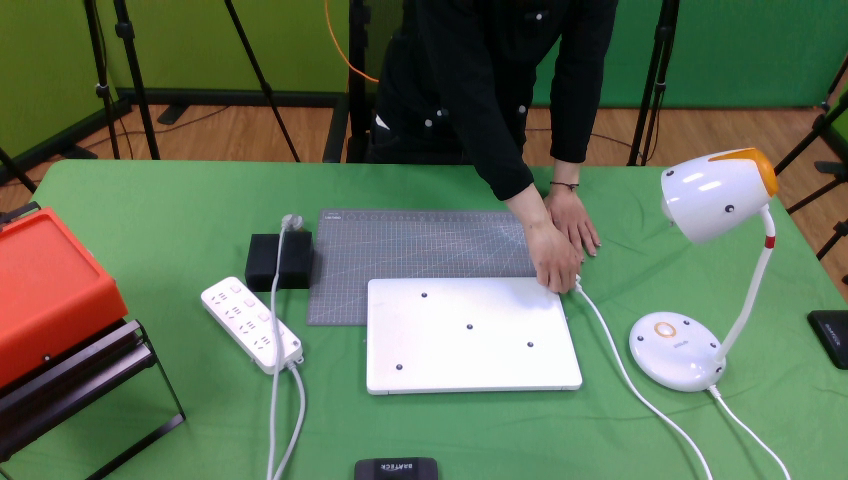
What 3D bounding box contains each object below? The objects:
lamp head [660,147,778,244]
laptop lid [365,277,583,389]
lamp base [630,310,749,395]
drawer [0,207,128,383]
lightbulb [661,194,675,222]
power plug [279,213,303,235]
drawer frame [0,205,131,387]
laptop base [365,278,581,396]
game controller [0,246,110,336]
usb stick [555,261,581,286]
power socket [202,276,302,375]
[{"bbox_3d":[0.389,-0.063,0.785,0.123,0.113,0.112,-22,32,37],"label":"lamp head"},{"bbox_3d":[0.077,0.152,1.046,0.357,0.013,0.240,1,45,-3],"label":"laptop lid"},{"bbox_3d":[0.447,0.142,0.984,0.161,0.181,0.178,-24,55,-24],"label":"lamp base"},{"bbox_3d":[-0.540,0.074,0.799,0.193,0.073,0.211,37,55,27],"label":"drawer"},{"bbox_3d":[0.367,-0.060,0.806,0.060,0.107,0.059,16,62,-32],"label":"lightbulb"},{"bbox_3d":[-0.264,-0.022,1.184,0.035,0.053,0.072,4,48,31],"label":"power plug"},{"bbox_3d":[-0.540,0.075,0.795,0.200,0.083,0.213,36,54,26],"label":"drawer frame"},{"bbox_3d":[0.077,0.162,1.053,0.355,0.023,0.234,0,44,-4],"label":"laptop base"},{"bbox_3d":[-0.511,0.062,0.830,0.097,0.052,0.154,-30,58,-32],"label":"game controller"},{"bbox_3d":[0.270,0.062,1.153,0.027,0.021,0.059,-1,35,-31],"label":"usb stick"},{"bbox_3d":[-0.296,0.142,1.033,0.072,0.033,0.225,-34,58,-30],"label":"power socket"}]
